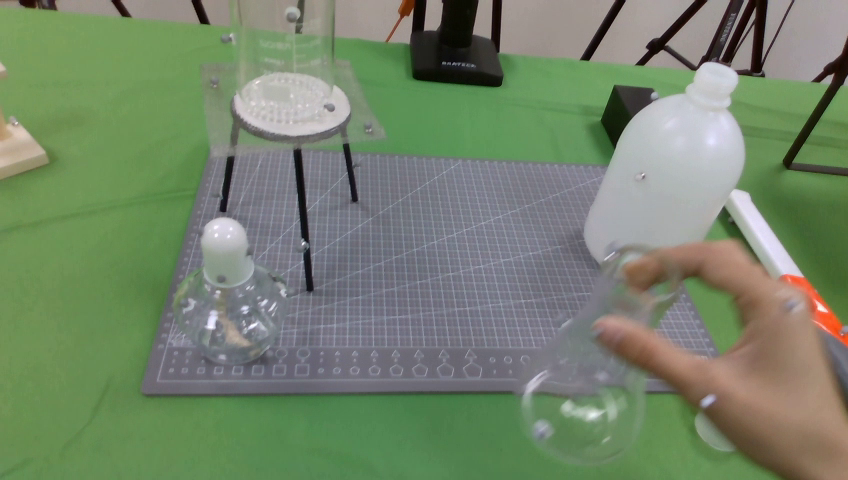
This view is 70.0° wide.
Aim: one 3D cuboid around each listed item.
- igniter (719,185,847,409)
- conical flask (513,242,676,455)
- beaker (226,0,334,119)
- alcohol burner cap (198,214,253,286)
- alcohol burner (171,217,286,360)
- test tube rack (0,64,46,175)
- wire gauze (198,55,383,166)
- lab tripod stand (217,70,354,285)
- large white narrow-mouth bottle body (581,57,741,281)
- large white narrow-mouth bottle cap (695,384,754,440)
[{"bbox_3d":[0.341,0.042,0.566,0.057,0.025,0.273,11,42,-15],"label":"igniter"},{"bbox_3d":[0.096,0.057,0.328,0.075,0.123,0.074,4,44,-4],"label":"conical flask"},{"bbox_3d":[-0.103,-0.144,0.426,0.084,0.101,0.073,-3,46,-14],"label":"beaker"},{"bbox_3d":[-0.131,0.004,0.395,0.034,0.048,0.033,5,50,-6],"label":"alcohol burner cap"},{"bbox_3d":[-0.136,0.029,0.421,0.078,0.120,0.077,7,42,-6],"label":"alcohol burner"},{"bbox_3d":[-0.460,-0.073,0.490,0.066,0.086,0.242,38,50,26],"label":"test tube rack"},{"bbox_3d":[-0.104,-0.106,0.459,0.122,0.011,0.123,-10,51,-17],"label":"wire gauze"},{"bbox_3d":[-0.108,-0.058,0.503,0.149,0.132,0.147,7,44,-6],"label":"lab tripod stand"},{"bbox_3d":[0.209,-0.062,0.522,0.102,0.196,0.101,5,44,-4],"label":"large white narrow-mouth bottle body"},{"bbox_3d":[0.226,0.130,0.457,0.038,0.024,0.037,5,43,-4],"label":"large white narrow-mouth bottle cap"}]
